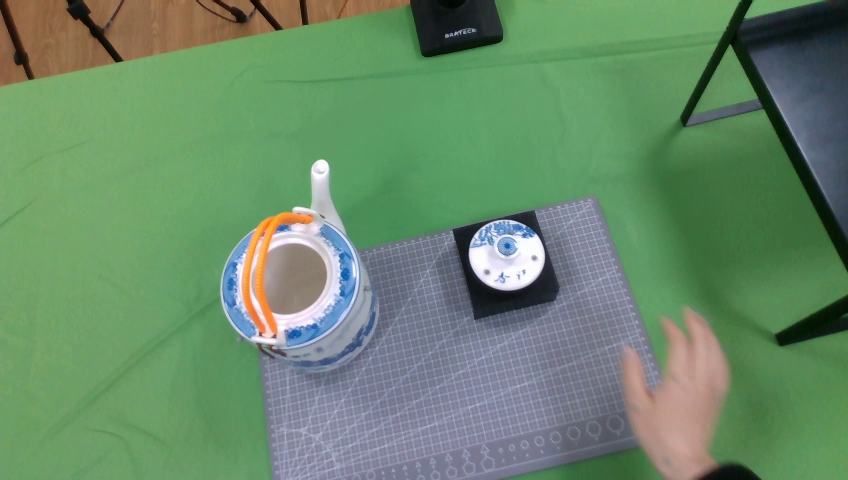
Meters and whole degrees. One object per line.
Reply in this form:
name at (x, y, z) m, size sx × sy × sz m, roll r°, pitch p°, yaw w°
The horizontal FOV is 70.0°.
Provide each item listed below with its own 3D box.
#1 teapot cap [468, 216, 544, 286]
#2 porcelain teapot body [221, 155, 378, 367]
teapot cap at (0.091, 0.010, 0.674) m, size 0.085 × 0.044 × 0.084 m, roll -2°, pitch 65°, yaw 5°
porcelain teapot body at (-0.128, 0.018, 0.644) m, size 0.145 × 0.227 × 0.204 m, roll 8°, pitch 69°, yaw 8°
